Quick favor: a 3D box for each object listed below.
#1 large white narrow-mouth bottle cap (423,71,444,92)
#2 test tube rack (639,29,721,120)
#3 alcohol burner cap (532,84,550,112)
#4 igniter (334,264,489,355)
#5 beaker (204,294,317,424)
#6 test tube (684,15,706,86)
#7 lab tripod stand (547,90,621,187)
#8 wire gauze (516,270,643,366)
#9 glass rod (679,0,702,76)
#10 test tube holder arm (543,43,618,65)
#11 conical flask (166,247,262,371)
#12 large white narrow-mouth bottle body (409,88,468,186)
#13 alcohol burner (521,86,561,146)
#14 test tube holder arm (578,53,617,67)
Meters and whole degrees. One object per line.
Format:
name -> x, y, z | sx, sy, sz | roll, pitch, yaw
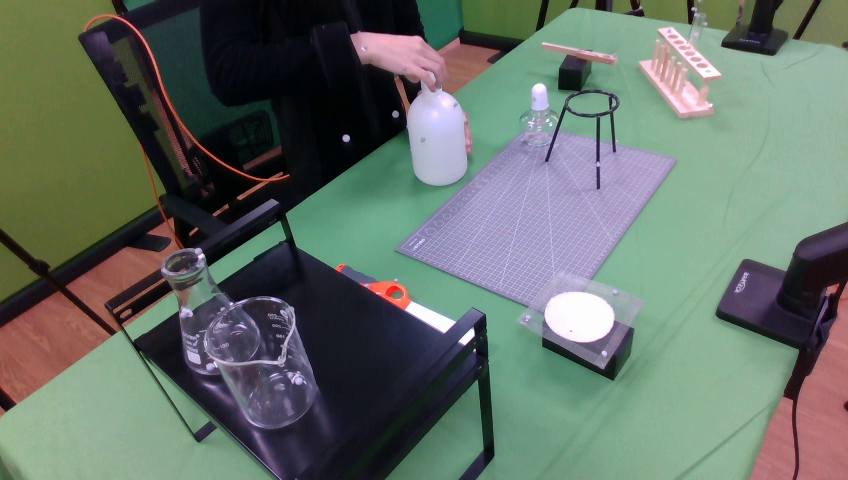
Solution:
large white narrow-mouth bottle cap -> 0.017, -0.269, 1.023 | 0.038, 0.024, 0.037 | -4, 40, 4
test tube rack -> 0.527, -0.351, 1.262 | 0.067, 0.085, 0.241 | -8, 40, 1
alcohol burner cap -> 0.218, -0.268, 1.133 | 0.034, 0.048, 0.033 | -8, 36, 7
igniter -> -0.030, 0.095, 0.871 | 0.274, 0.025, 0.057 | 22, 59, 31
beaker -> -0.137, 0.110, 0.536 | 0.083, 0.101, 0.074 | 30, 53, 36
test tube -> 0.540, -0.378, 1.215 | 0.017, 0.151, 0.017 | -2, 44, 3
lab tripod stand -> 0.288, -0.184, 1.062 | 0.148, 0.132, 0.147 | -6, 41, 6
wire gauze -> 0.200, 0.093, 0.777 | 0.124, 0.011, 0.122 | 23, 49, 32
glass rod -> 0.543, -0.417, 1.233 | 0.008, 0.200, 0.008 | 1, 40, 0
test tube holder arm -> 0.345, -0.413, 1.341 | 0.177, 0.015, 0.013 | 25, 50, 31
conical flask -> -0.209, 0.064, 0.584 | 0.075, 0.122, 0.075 | -5, 40, 4
large white narrow-mouth bottle body -> 0.024, -0.201, 1.082 | 0.102, 0.195, 0.101 | -4, 40, 4
alcohol burner -> 0.223, -0.241, 1.155 | 0.078, 0.119, 0.077 | -5, 43, 5
test tube holder arm -> 0.376, -0.393, 1.314 | 0.087, 0.015, 0.010 | 26, 50, 32
